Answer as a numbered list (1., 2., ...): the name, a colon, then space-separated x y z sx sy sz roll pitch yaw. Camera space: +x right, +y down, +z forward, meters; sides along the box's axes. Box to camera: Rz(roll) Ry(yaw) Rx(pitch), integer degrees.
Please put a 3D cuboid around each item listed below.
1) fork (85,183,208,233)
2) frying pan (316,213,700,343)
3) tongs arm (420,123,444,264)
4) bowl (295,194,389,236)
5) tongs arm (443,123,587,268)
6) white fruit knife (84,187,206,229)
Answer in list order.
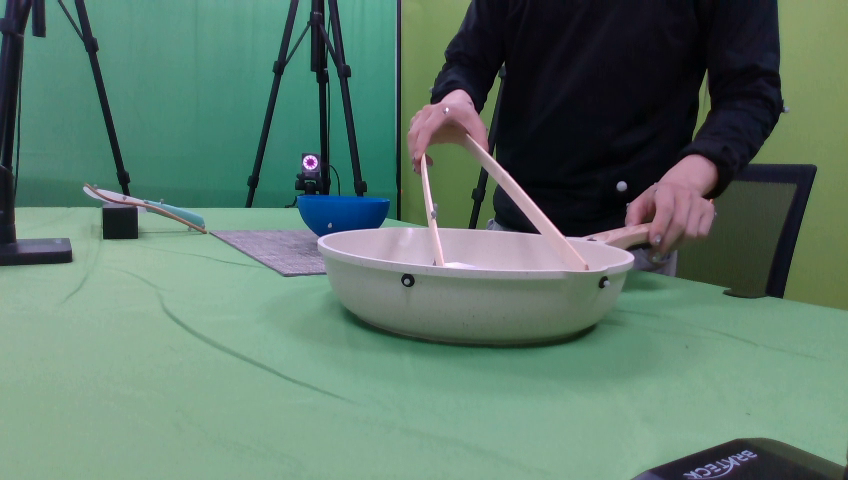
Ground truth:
1. fork: -0.462 -0.051 1.020 0.208 0.018 0.028 22 -8 -37
2. frying pan: 0.133 0.013 0.629 0.490 0.102 0.305 -12 14 -30
3. tongs arm: 0.022 -0.054 0.686 0.051 0.026 0.383 -6 31 -3
4. bowl: -0.133 -0.032 0.980 0.151 0.077 0.151 2 7 0
5. tongs arm: 0.090 -0.061 0.694 0.028 0.028 0.386 -14 32 -9
6. white fruit knife: -0.488 -0.059 1.071 0.208 0.027 0.016 17 4 -33
